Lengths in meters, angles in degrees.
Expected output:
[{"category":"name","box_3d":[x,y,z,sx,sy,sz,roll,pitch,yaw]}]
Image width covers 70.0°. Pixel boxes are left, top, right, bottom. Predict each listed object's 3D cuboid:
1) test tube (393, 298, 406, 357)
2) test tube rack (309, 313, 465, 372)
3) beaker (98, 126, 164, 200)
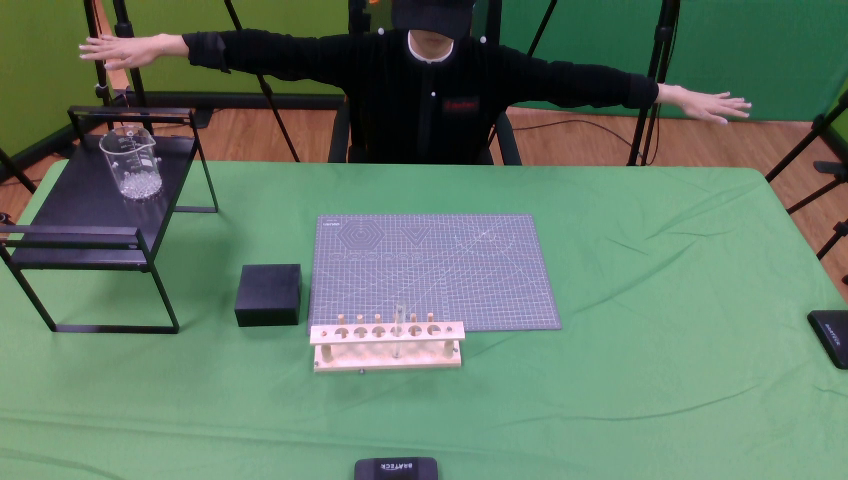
[{"category":"test tube","box_3d":[-0.039,0.139,0.943,0.017,0.151,0.017,3,48,-3]},{"category":"test tube rack","box_3d":[-0.059,0.161,0.990,0.242,0.085,0.066,-1,46,-5]},{"category":"beaker","box_3d":[-0.464,-0.122,0.977,0.084,0.101,0.073,0,46,-5]}]
